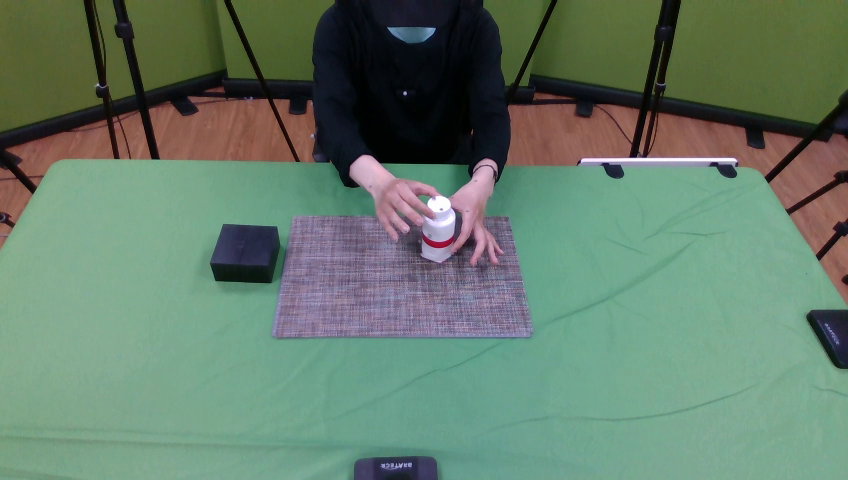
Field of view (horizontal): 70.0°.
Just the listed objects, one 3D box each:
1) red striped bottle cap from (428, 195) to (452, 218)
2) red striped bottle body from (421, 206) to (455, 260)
[{"bbox_3d":[0.029,-0.061,1.097,0.044,0.018,0.044,-4,51,5],"label":"red striped bottle cap"},{"bbox_3d":[0.026,-0.023,1.139,0.063,0.120,0.062,1,48,-1],"label":"red striped bottle body"}]
